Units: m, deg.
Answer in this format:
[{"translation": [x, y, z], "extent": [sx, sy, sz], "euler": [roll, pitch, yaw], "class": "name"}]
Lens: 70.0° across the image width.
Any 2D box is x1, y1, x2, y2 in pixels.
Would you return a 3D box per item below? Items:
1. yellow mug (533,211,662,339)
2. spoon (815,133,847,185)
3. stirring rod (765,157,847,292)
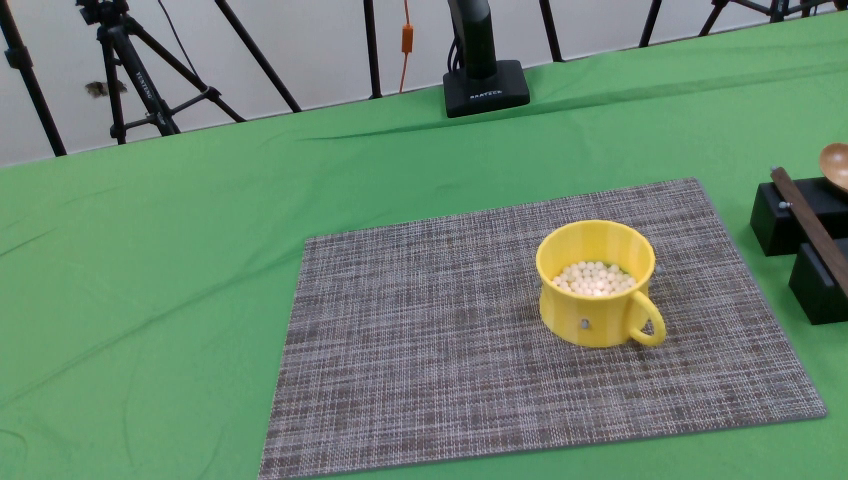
[{"translation": [0.159, 0.038, 0.537], "extent": [0.100, 0.064, 0.129], "euler": [-31, 46, -16], "class": "yellow mug"}, {"translation": [0.386, -0.025, 0.508], "extent": [0.041, 0.022, 0.191], "euler": [-8, 45, 5], "class": "spoon"}, {"translation": [0.331, -0.016, 0.516], "extent": [0.014, 0.006, 0.174], "euler": [-39, 31, 32], "class": "stirring rod"}]
